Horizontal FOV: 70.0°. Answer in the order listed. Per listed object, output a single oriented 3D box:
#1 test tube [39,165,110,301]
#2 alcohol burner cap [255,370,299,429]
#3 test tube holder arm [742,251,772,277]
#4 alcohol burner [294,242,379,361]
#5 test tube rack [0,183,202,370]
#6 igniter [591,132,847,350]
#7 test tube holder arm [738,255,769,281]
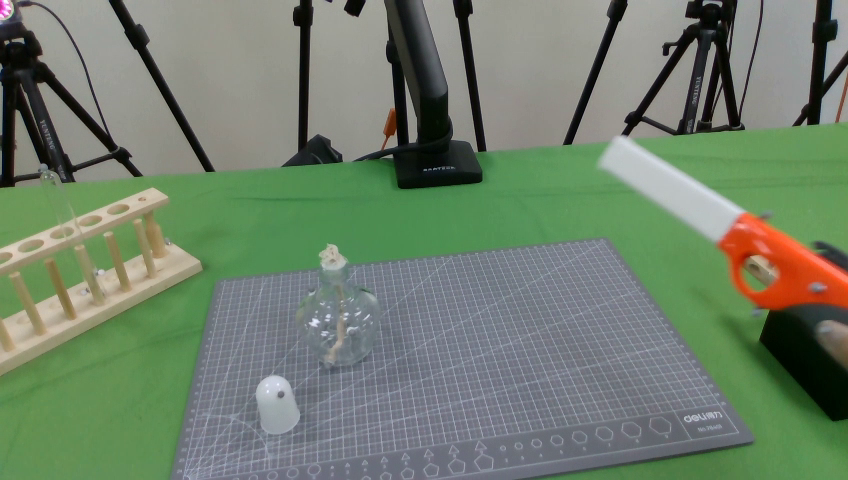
[{"bbox_3d":[-0.332,-0.003,0.577,0.017,0.151,0.017,-1,35,1],"label":"test tube"},{"bbox_3d":[-0.121,0.126,0.492,0.034,0.048,0.033,0,34,0],"label":"alcohol burner cap"},{"bbox_3d":[0.332,0.055,0.511,0.015,0.013,0.176,-15,34,-9],"label":"test tube holder arm"},{"bbox_3d":[-0.079,0.050,0.539,0.078,0.120,0.077,0,36,0],"label":"alcohol burner"},{"bbox_3d":[-0.355,0.034,0.604,0.066,0.086,0.242,26,42,34],"label":"test tube rack"},{"bbox_3d":[0.217,-0.002,0.419,0.025,0.057,0.273,13,26,-41],"label":"igniter"},{"bbox_3d":[0.321,0.037,0.550,0.015,0.010,0.087,-14,34,-9],"label":"test tube holder arm"}]
